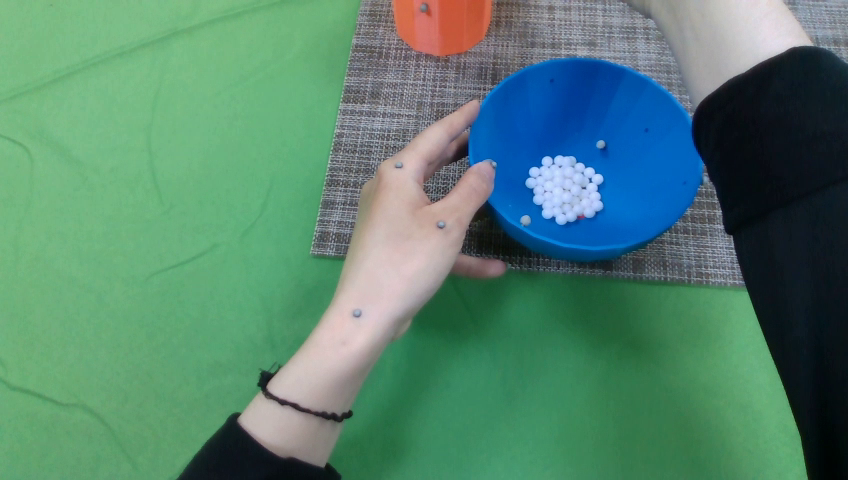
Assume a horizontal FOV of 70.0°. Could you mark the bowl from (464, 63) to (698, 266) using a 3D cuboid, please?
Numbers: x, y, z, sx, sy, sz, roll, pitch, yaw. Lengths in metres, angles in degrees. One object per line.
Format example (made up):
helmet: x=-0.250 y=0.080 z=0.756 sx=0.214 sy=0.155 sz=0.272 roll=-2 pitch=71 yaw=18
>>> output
bowl: x=0.102 y=-0.040 z=0.425 sx=0.151 sy=0.077 sz=0.150 roll=0 pitch=64 yaw=1

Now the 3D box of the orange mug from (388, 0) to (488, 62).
orange mug: x=0.016 y=-0.231 z=0.510 sx=0.083 sy=0.101 sz=0.125 roll=15 pitch=70 yaw=8
